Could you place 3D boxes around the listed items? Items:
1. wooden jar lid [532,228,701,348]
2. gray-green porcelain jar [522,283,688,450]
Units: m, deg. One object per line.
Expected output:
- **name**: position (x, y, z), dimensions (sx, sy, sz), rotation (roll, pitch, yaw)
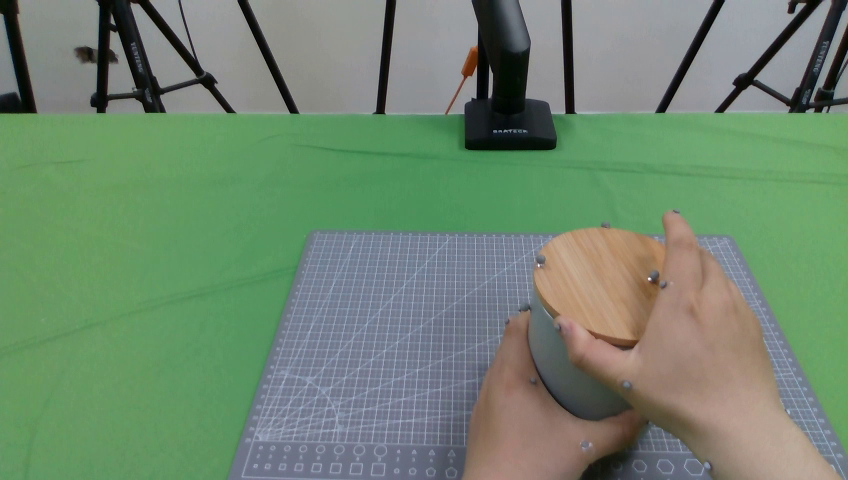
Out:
- **wooden jar lid**: position (0.125, 0.033, 0.403), dimensions (0.108, 0.021, 0.107), rotation (0, 39, 0)
- **gray-green porcelain jar**: position (0.126, 0.082, 0.443), dimensions (0.106, 0.127, 0.105), rotation (-1, 40, 1)
